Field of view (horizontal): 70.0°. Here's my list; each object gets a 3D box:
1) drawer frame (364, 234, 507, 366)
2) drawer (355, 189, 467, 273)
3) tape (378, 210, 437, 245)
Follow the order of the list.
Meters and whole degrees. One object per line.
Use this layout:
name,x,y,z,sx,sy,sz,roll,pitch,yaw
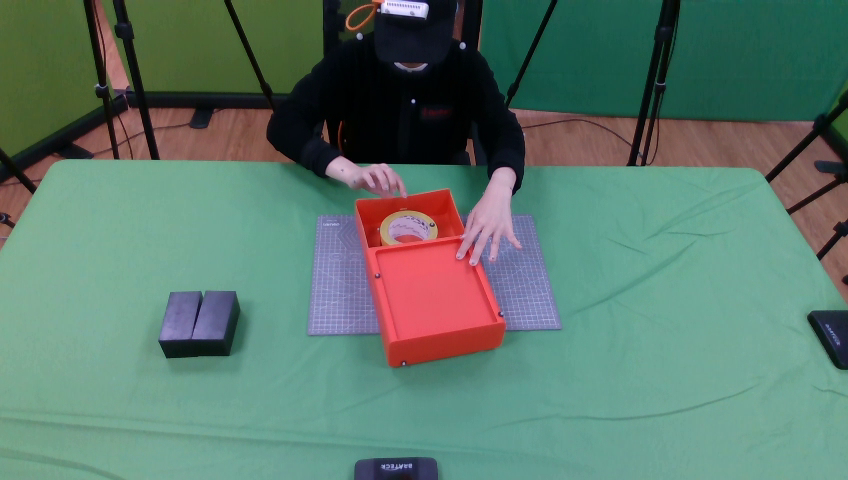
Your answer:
drawer frame,0.013,0.097,1.059,0.202,0.083,0.212,-8,48,-13
drawer,-0.018,0.004,1.149,0.195,0.073,0.210,-7,47,-13
tape,-0.030,-0.001,1.162,0.117,0.053,0.116,2,45,-2
